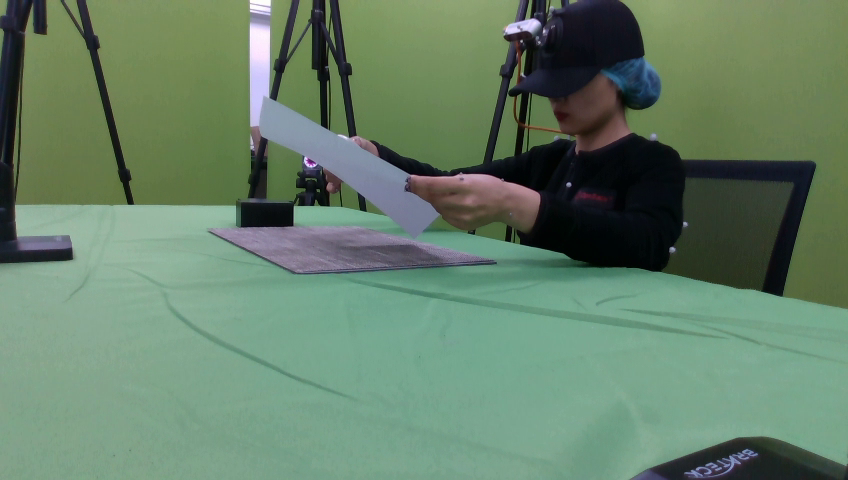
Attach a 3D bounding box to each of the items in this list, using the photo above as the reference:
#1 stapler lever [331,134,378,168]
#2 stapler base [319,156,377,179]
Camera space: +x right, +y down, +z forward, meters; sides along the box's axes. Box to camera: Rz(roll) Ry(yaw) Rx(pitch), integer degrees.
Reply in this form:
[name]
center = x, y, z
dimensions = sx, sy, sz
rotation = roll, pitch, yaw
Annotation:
[stapler lever]
center = -0.120, -0.155, 1.059
dimensions = 0.026, 0.040, 0.118
rotation = 29, 10, 28
[stapler base]
center = -0.129, -0.133, 1.060
dimensions = 0.041, 0.024, 0.131
rotation = 29, 9, 28
